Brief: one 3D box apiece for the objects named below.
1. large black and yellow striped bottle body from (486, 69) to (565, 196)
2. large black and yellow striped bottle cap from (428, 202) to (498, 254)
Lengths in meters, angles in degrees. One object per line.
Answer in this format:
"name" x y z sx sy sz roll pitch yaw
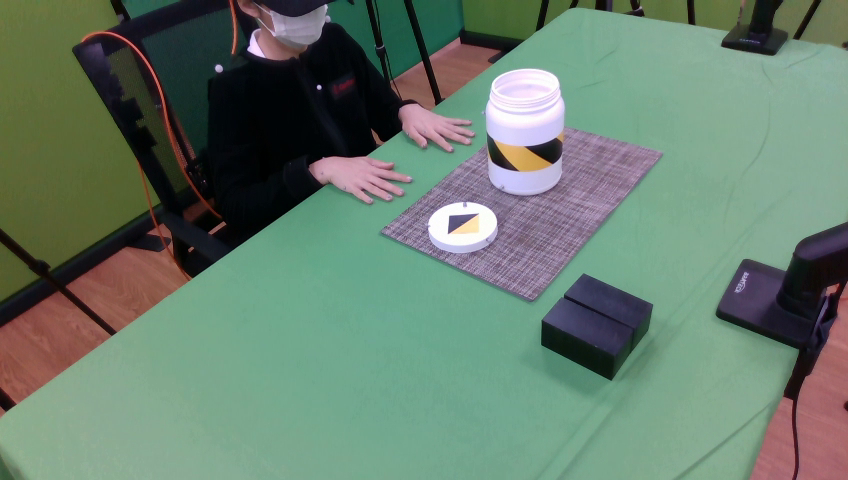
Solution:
"large black and yellow striped bottle body" 0.173 -0.183 1.033 0.131 0.185 0.130 -5 40 5
"large black and yellow striped bottle cap" 0.064 -0.022 0.990 0.115 0.019 0.114 -4 41 4
